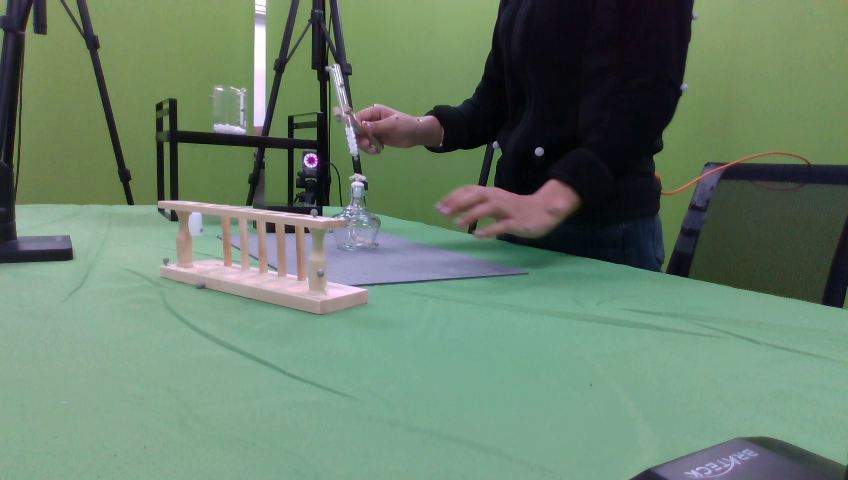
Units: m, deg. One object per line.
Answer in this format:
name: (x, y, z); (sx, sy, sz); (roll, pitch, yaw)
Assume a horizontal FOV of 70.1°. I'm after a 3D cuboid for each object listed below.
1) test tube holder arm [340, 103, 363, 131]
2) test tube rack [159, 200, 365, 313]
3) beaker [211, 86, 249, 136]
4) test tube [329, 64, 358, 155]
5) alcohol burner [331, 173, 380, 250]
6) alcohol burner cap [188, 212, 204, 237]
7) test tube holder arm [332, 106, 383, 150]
test tube holder arm: (-0.113, -0.192, 0.954); (0.010, 0.015, 0.088); (-13, -13, 9)
test tube rack: (-0.173, 0.009, 0.624); (0.241, 0.085, 0.067); (7, 9, 34)
beaker: (-0.413, -0.274, 1.297); (0.074, 0.100, 0.083); (-5, 11, -44)
test tube: (-0.124, -0.202, 0.934); (0.017, 0.150, 0.017); (-13, -10, -2)
alcohol burner: (-0.106, -0.044, 0.930); (0.078, 0.119, 0.078); (3, 6, 0)
alcohol burner cap: (-0.389, -0.029, 1.025); (0.034, 0.048, 0.034); (2, 8, 0)
test tube holder arm: (-0.106, -0.183, 0.998); (0.013, 0.015, 0.179); (-14, -13, 15)
